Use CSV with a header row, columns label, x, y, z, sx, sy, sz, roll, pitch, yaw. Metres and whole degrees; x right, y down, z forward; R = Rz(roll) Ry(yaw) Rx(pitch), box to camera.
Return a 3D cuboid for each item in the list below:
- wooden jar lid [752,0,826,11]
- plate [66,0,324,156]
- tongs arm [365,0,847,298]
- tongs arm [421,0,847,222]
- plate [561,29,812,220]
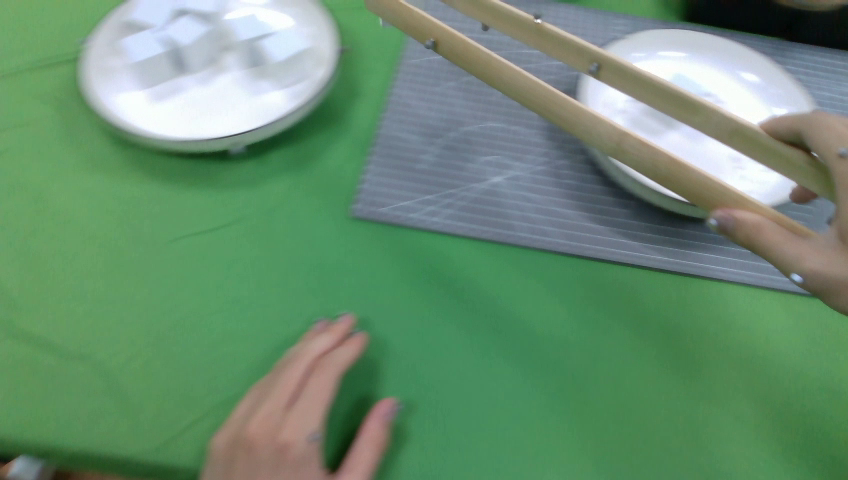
label,x,y,z,sx,sy,sz,roll,pitch,yaw
wooden jar lid,0.345,-0.260,0.588,0.108,0.021,0.107,2,59,-4
plate,-0.190,-0.149,0.523,0.208,0.039,0.205,2,58,-3
tongs arm,0.107,-0.072,0.383,0.385,0.028,0.028,35,59,19
tongs arm,0.125,-0.089,0.395,0.382,0.027,0.050,32,61,18
plate,0.219,-0.099,0.522,0.209,0.038,0.207,2,58,-3
